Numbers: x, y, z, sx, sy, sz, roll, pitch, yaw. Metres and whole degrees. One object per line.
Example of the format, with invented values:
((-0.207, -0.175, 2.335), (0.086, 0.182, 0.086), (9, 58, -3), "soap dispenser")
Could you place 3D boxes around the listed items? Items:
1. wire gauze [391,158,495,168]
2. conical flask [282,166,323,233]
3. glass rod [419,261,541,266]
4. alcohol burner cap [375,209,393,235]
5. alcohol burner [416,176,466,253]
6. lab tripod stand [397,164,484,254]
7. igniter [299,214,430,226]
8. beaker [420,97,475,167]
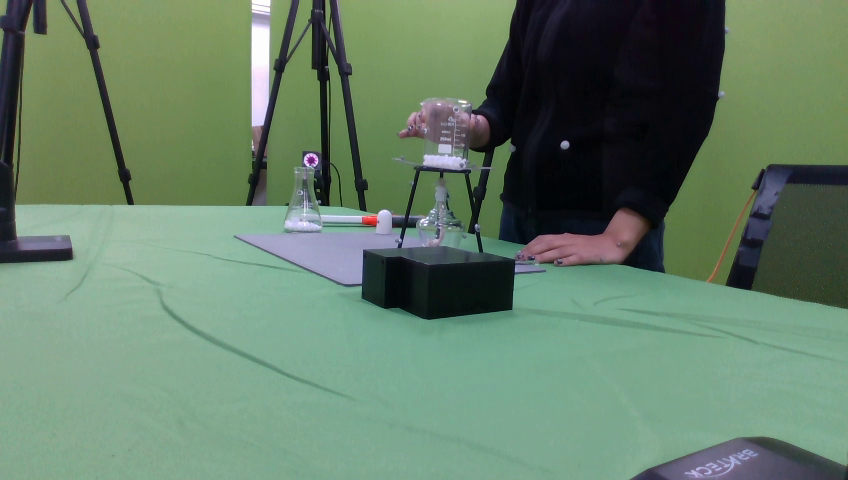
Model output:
((0.032, -0.114, 0.923), (0.124, 0.011, 0.122), (7, 6, 32), "wire gauze")
((-0.225, -0.076, 1.129), (0.075, 0.122, 0.075), (2, 8, 0), "conical flask")
((0.080, 0.032, 0.808), (0.201, 0.008, 0.008), (1, 6, -32), "glass rod")
((-0.075, -0.035, 1.150), (0.034, 0.048, 0.034), (3, 7, 0), "alcohol burner cap")
((0.027, -0.039, 0.934), (0.078, 0.119, 0.078), (2, 9, 0), "alcohol burner")
((0.029, -0.049, 0.930), (0.148, 0.131, 0.148), (4, 7, 0), "lab tripod stand")
((-0.123, -0.044, 1.281), (0.278, 0.025, 0.057), (0, -2, -19), "igniter")
((0.032, -0.162, 0.913), (0.084, 0.100, 0.074), (2, 7, -9), "beaker")
